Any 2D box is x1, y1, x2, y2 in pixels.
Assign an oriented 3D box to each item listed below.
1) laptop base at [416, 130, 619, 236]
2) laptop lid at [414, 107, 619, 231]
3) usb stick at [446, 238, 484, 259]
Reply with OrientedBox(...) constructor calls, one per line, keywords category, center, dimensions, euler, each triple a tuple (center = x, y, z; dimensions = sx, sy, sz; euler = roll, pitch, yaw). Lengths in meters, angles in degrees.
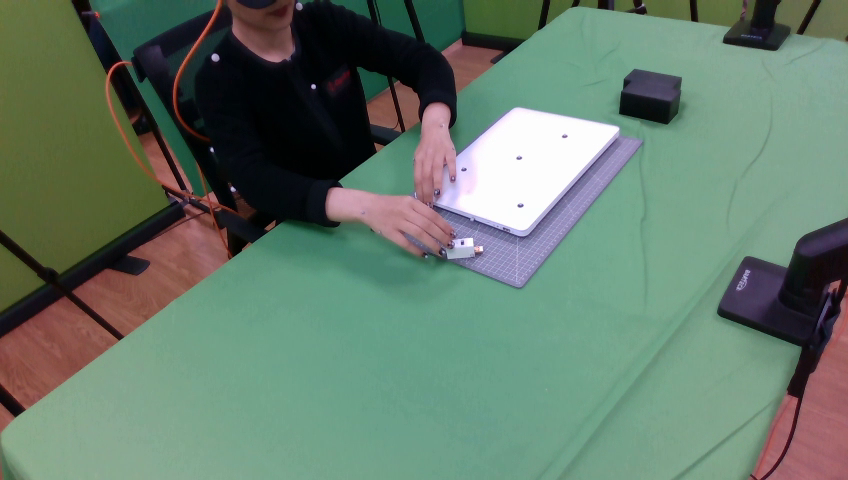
OrientedBox(category="laptop base", center=(0.178, -0.137, 1.112), dimensions=(0.233, 0.023, 0.355), euler=(19, 48, 34))
OrientedBox(category="laptop lid", center=(0.174, -0.147, 1.106), dimensions=(0.239, 0.013, 0.358), euler=(22, 49, 35))
OrientedBox(category="usb stick", center=(0.064, 0.013, 0.946), dimensions=(0.059, 0.027, 0.021), euler=(-4, 41, 3))
